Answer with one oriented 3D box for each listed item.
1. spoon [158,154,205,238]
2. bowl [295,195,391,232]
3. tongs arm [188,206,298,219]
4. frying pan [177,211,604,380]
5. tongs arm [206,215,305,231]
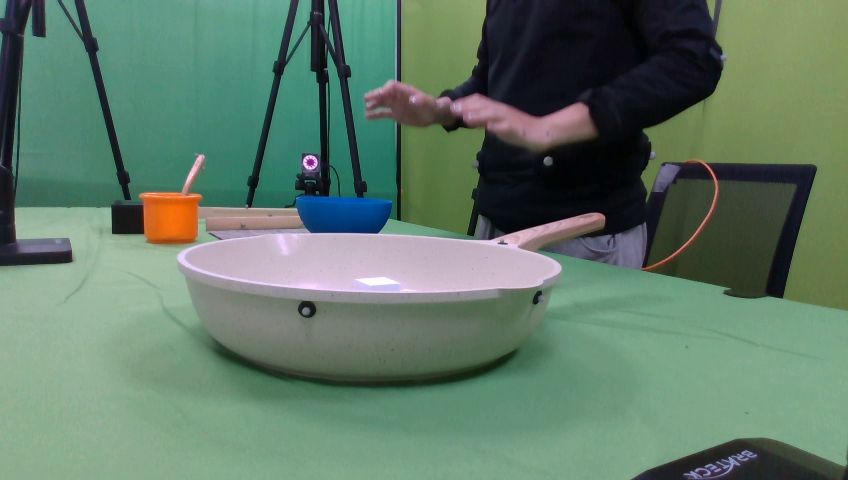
[{"bbox_3d":[-0.392,-0.076,0.998,0.041,0.193,0.021,1,-36,6],"label":"spoon"},{"bbox_3d":[-0.127,-0.027,0.946,0.151,0.077,0.151,2,7,0],"label":"bowl"},{"bbox_3d":[-0.301,-0.055,1.308,0.387,0.026,0.050,-1,9,-29],"label":"tongs arm"},{"bbox_3d":[0.034,0.019,0.556,0.490,0.102,0.305,-15,18,-42],"label":"frying pan"},{"bbox_3d":[-0.257,-0.040,1.241,0.390,0.028,0.028,-4,8,-42],"label":"tongs arm"}]
